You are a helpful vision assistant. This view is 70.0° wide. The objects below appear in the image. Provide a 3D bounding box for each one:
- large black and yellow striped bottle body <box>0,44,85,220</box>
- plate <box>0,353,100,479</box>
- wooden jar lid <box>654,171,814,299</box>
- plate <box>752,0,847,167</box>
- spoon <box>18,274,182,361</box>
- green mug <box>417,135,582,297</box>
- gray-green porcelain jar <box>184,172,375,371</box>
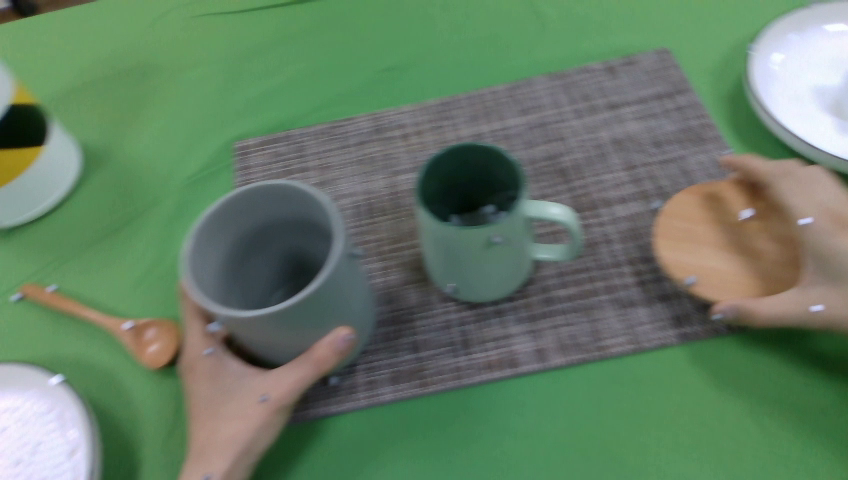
[{"bbox_3d":[-0.422,-0.118,0.549,0.130,0.186,0.129,-4,58,6],"label":"large black and yellow striped bottle body"},{"bbox_3d":[-0.330,0.184,0.434,0.209,0.038,0.207,-3,57,6],"label":"plate"},{"bbox_3d":[0.229,-0.003,0.453,0.108,0.021,0.107,-6,60,11],"label":"wooden jar lid"},{"bbox_3d":[0.396,-0.134,0.529,0.207,0.039,0.205,-4,58,6],"label":"plate"},{"bbox_3d":[-0.280,0.057,0.515,0.193,0.022,0.041,17,79,18],"label":"spoon"},{"bbox_3d":[0.056,-0.014,0.459,0.125,0.106,0.092,8,59,12],"label":"green mug"},{"bbox_3d":[-0.095,0.030,0.439,0.106,0.128,0.105,-4,57,6],"label":"gray-green porcelain jar"}]
